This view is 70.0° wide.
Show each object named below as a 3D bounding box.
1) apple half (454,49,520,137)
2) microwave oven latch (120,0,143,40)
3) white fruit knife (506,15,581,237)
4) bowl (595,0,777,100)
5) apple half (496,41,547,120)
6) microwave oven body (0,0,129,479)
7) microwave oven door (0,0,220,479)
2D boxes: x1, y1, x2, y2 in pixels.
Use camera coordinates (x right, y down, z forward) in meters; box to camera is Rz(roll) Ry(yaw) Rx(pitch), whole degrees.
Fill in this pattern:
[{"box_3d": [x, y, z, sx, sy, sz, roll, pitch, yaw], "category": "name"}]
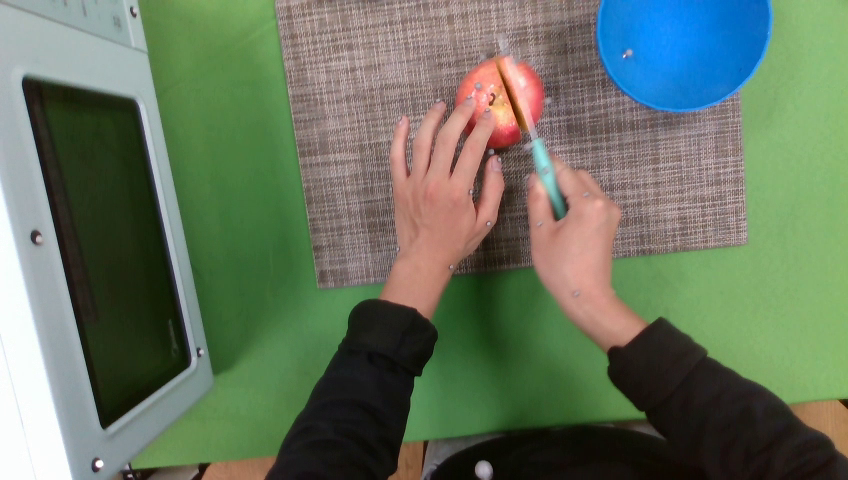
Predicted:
[{"box_3d": [0.056, -0.135, 0.579, 0.053, 0.074, 0.081, -18, 103, 12], "category": "apple half"}, {"box_3d": [-0.297, -0.234, 0.584, 0.030, 0.029, 0.079, -8, 99, 4], "category": "microwave oven latch"}, {"box_3d": [0.105, -0.095, 0.538, 0.016, 0.027, 0.208, -18, 105, 10], "category": "white fruit knife"}, {"box_3d": [0.226, -0.202, 0.556, 0.151, 0.076, 0.151, 0, 99, 4], "category": "bowl"}, {"box_3d": [0.097, -0.155, 0.574, 0.033, 0.081, 0.081, -26, 96, 2], "category": "apple half"}, {"box_3d": [-0.422, -0.026, 0.527, 0.326, 0.259, 0.443, -8, 99, 4], "category": "microwave oven body"}, {"box_3d": [-0.272, -0.005, 0.518, 0.039, 0.243, 0.356, -9, 98, 5], "category": "microwave oven door"}]
